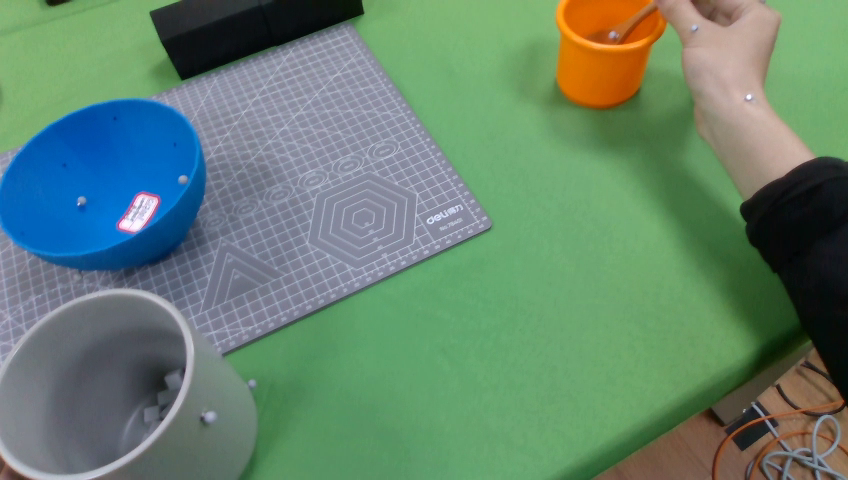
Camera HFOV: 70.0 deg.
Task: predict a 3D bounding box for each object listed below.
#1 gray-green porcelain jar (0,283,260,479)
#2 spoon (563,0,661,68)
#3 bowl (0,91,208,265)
[{"bbox_3d":[-0.163,0.100,0.362,0.106,0.127,0.105,-2,58,4],"label":"gray-green porcelain jar"},{"bbox_3d":[0.189,-0.194,0.494,0.022,0.193,0.041,16,69,-27],"label":"spoon"},{"bbox_3d":[-0.235,-0.035,0.476,0.151,0.077,0.150,-2,58,4],"label":"bowl"}]
